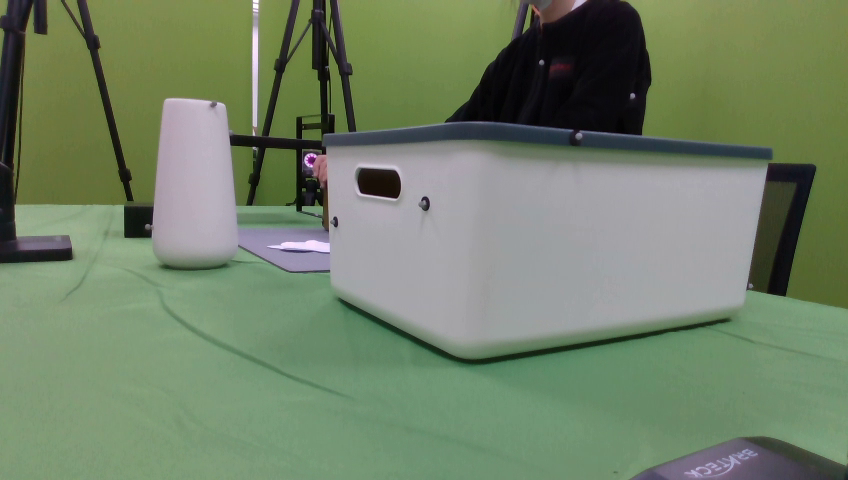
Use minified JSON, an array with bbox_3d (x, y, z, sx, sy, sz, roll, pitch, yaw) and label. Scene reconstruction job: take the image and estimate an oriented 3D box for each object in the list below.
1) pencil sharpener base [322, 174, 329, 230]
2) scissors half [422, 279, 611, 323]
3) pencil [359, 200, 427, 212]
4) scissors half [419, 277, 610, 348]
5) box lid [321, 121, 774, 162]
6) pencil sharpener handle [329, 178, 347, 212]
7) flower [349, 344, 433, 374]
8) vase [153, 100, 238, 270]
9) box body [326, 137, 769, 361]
[{"bbox_3d":[-0.154,-0.070,1.143,0.061,0.107,0.076,1,7,-24],"label":"pencil sharpener base"},{"bbox_3d":[0.073,0.057,0.524,0.174,0.040,0.013,5,39,30],"label":"scissors half"},{"bbox_3d":[-0.058,-0.059,1.012,0.012,0.012,0.193,-3,9,-38],"label":"pencil"},{"bbox_3d":[0.076,0.067,0.533,0.174,0.040,0.013,14,50,24],"label":"scissors half"},{"bbox_3d":[0.114,-0.085,0.573,0.373,0.015,0.262,-2,7,-33],"label":"box lid"},{"bbox_3d":[-0.171,-0.089,1.189,0.036,0.068,0.030,-10,12,-22],"label":"pencil sharpener handle"},{"bbox_3d":[0.103,0.072,0.592,0.362,0.044,0.038,-17,44,-9],"label":"flower"},{"bbox_3d":[-0.278,-0.066,0.736,0.098,0.200,0.098,2,9,0],"label":"vase"},{"bbox_3d":[0.112,-0.010,0.583,0.366,0.160,0.253,-2,9,-33],"label":"box body"}]
